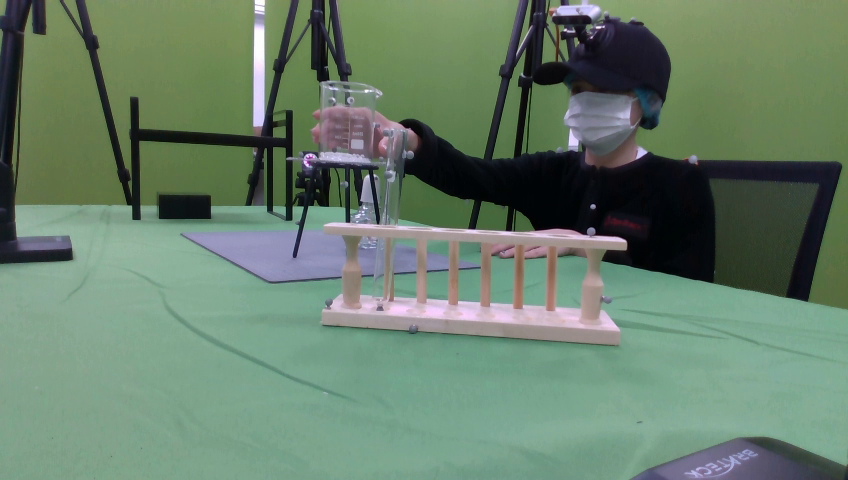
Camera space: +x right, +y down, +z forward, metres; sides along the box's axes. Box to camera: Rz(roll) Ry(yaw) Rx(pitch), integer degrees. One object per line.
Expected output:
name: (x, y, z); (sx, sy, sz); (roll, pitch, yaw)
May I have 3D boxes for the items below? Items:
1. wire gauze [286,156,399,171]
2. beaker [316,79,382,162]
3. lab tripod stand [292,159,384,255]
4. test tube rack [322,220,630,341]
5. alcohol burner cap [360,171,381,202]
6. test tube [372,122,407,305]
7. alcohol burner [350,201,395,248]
wire gauze: (-0.101, -0.103, 0.788); (0.121, 0.011, 0.125); (5, 4, 6)
beaker: (-0.097, -0.151, 0.777); (0.084, 0.100, 0.074); (5, 8, 6)
lab tripod stand: (-0.105, -0.039, 0.797); (0.148, 0.131, 0.148); (2, 5, 0)
test tube rack: (0.041, 0.029, 0.512); (0.242, 0.085, 0.067); (3, 7, 5)
alcohol burner cap: (-0.082, -0.084, 0.949); (0.034, 0.048, 0.034); (9, 7, -1)
test tube: (-0.029, -0.020, 0.493); (0.017, 0.150, 0.017); (6, 9, -1)
alcohol burner: (-0.084, -0.048, 0.953); (0.078, 0.119, 0.078); (1, 6, 0)
